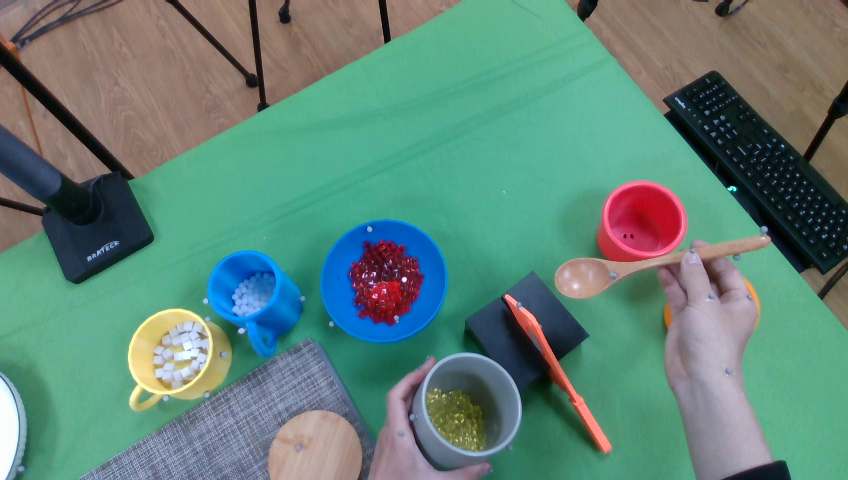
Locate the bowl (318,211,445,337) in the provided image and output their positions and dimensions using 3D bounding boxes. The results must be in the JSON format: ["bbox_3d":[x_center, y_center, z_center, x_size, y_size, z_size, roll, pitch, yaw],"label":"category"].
[{"bbox_3d":[-0.048,0.049,0.738,0.151,0.077,0.150,-1,72,2],"label":"bowl"}]

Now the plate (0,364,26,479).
[{"bbox_3d":[-0.573,0.235,0.720,0.207,0.039,0.206,-1,72,2],"label":"plate"}]

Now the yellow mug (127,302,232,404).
[{"bbox_3d":[-0.301,0.142,0.724,0.099,0.064,0.130,34,77,13],"label":"yellow mug"}]

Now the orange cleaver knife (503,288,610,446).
[{"bbox_3d":[0.150,0.145,0.696,0.012,0.077,0.212,-34,103,-8],"label":"orange cleaver knife"}]

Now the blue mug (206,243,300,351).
[{"bbox_3d":[-0.198,0.074,0.722,0.082,0.106,0.115,-12,72,-1],"label":"blue mug"}]

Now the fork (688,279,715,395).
[{"bbox_3d":[0.309,0.100,0.669,0.028,0.019,0.206,28,31,6],"label":"fork"}]

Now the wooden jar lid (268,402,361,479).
[{"bbox_3d":[-0.125,0.244,0.704,0.108,0.021,0.107,-1,73,2],"label":"wooden jar lid"}]

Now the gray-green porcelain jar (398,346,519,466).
[{"bbox_3d":[0.031,0.185,0.656,0.106,0.127,0.105,7,60,-12],"label":"gray-green porcelain jar"}]

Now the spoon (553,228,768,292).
[{"bbox_3d":[0.217,0.016,0.571,0.193,0.022,0.041,-14,71,29],"label":"spoon"}]
